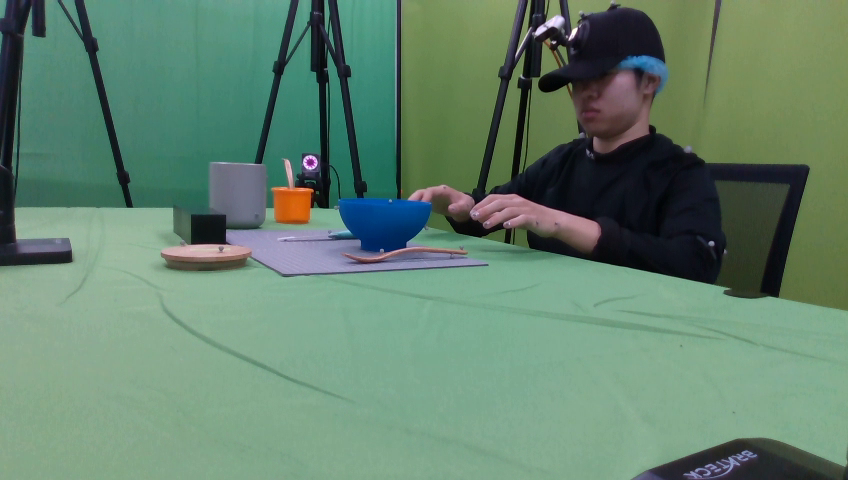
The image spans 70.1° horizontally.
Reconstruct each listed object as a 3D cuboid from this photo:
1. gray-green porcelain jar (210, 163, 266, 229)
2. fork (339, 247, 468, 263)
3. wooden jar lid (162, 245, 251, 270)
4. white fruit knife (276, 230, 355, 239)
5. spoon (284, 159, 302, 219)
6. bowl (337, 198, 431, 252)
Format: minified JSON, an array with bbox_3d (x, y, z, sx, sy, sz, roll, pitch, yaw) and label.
[{"bbox_3d":[-0.367,-0.088,1.195,0.106,0.126,0.106,3,8,0],"label":"gray-green porcelain jar"},{"bbox_3d":[-0.023,0.020,0.863,0.208,0.018,0.028,-4,2,-31],"label":"fork"},{"bbox_3d":[-0.278,0.022,0.777,0.108,0.020,0.108,2,6,0],"label":"wooden jar lid"},{"bbox_3d":[-0.159,-0.009,1.058,0.208,0.016,0.027,-3,-5,-33],"label":"white fruit knife"},{"bbox_3d":[-0.302,-0.118,1.370,0.042,0.193,0.021,4,-39,-24],"label":"spoon"},{"bbox_3d":[-0.066,-0.024,0.967,0.151,0.077,0.151,3,7,0],"label":"bowl"}]
